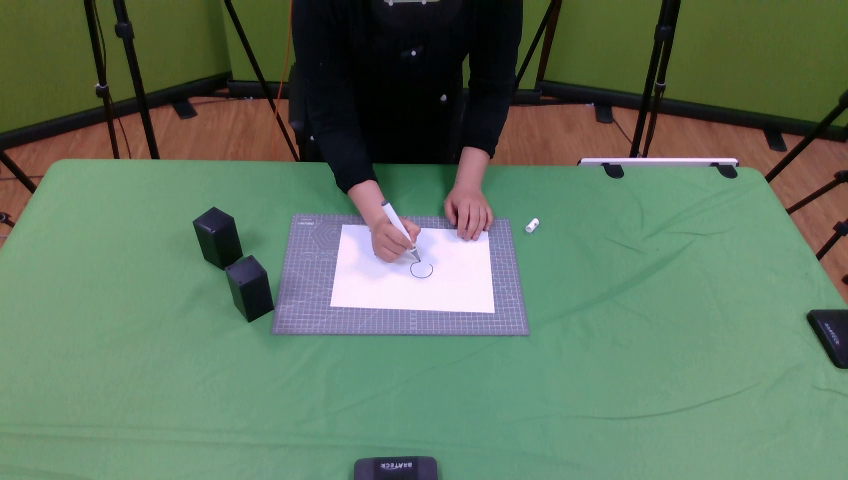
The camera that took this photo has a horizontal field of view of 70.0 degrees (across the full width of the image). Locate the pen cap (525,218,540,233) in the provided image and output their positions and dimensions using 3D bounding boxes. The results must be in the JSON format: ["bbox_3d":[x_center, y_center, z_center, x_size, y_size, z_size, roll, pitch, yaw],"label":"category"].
[{"bbox_3d":[0.224,-0.031,1.248,0.017,0.017,0.038,30,51,23],"label":"pen cap"}]

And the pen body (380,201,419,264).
[{"bbox_3d":[-0.043,-0.011,1.134,0.017,0.145,0.017,-24,26,12],"label":"pen body"}]
